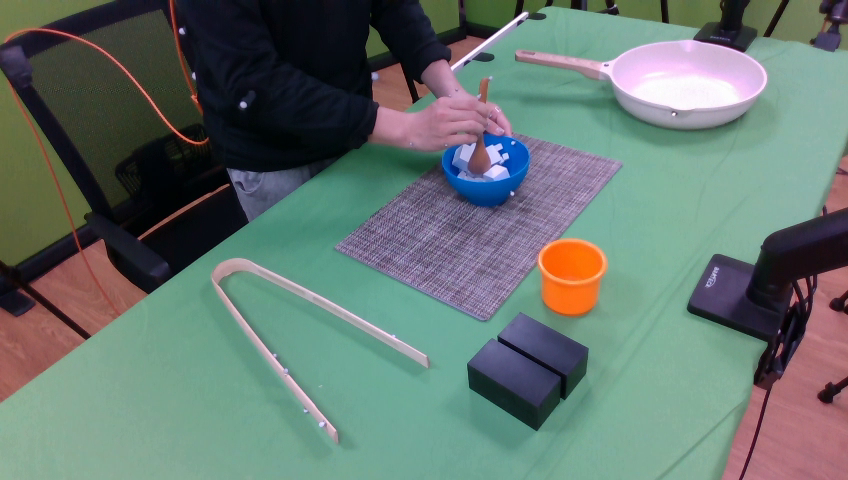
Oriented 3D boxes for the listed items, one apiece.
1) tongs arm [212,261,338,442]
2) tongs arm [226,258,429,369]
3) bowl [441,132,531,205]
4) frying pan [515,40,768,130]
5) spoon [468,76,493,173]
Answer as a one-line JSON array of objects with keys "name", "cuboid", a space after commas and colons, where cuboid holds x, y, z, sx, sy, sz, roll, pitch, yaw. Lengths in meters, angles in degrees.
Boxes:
[{"name": "tongs arm", "cuboid": [-0.208, 0.136, 0.830, 0.051, 0.026, 0.381, -31, 45, -28]}, {"name": "tongs arm", "cuboid": [-0.150, 0.098, 0.873, 0.384, 0.028, 0.028, 22, 50, 30]}, {"name": "bowl", "cuboid": [0.107, -0.112, 1.033, 0.151, 0.077, 0.150, -4, 41, 4]}, {"name": "frying pan", "cuboid": [0.423, -0.338, 1.236, 0.486, 0.103, 0.307, 16, 44, 13]}, {"name": "spoon", "cuboid": [0.091, -0.177, 0.959, 0.041, 0.194, 0.021, -3, 46, 0]}]
